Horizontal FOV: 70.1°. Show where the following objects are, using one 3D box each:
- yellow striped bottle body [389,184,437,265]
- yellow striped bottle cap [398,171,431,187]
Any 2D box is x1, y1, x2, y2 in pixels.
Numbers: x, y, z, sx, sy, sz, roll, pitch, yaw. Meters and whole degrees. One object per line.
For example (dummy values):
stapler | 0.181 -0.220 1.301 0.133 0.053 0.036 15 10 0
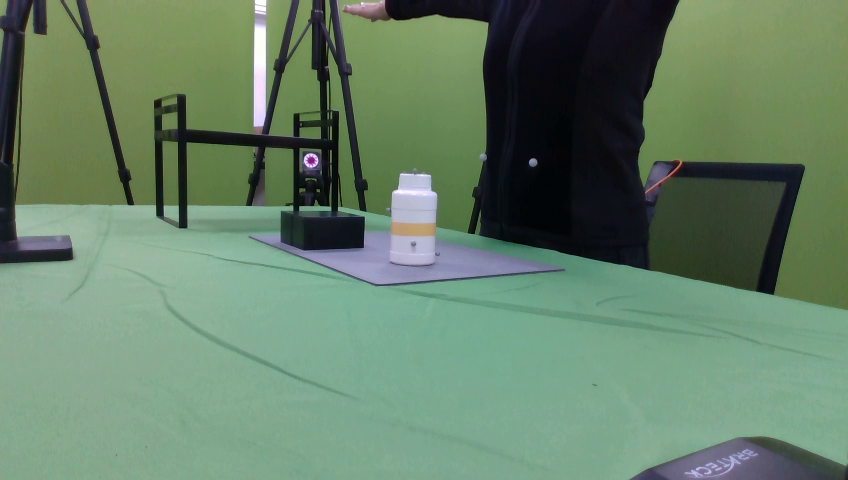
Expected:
yellow striped bottle body | -0.014 -0.030 0.816 0.063 0.120 0.063 2 7 0
yellow striped bottle cap | -0.012 -0.082 0.809 0.044 0.018 0.044 4 9 0
